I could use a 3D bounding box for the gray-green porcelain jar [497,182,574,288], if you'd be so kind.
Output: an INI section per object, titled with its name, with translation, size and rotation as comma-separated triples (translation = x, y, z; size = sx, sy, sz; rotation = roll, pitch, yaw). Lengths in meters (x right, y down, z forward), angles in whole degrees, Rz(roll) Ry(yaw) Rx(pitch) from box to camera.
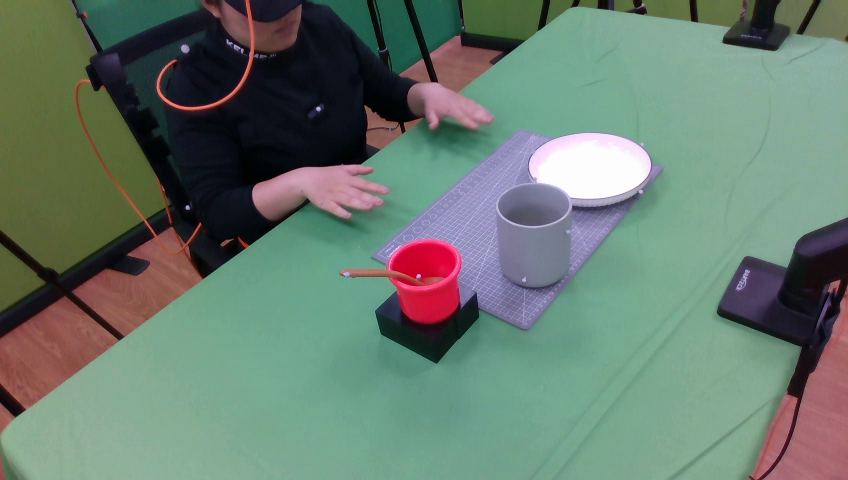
[gray-green porcelain jar]
translation = 0.160, -0.003, 0.869
size = 0.106, 0.127, 0.105
rotation = -5, 40, 5

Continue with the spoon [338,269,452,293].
[spoon]
translation = -0.033, 0.047, 0.758
size = 0.041, 0.021, 0.195
rotation = 30, 10, 41

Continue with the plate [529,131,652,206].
[plate]
translation = 0.287, -0.122, 1.055
size = 0.207, 0.039, 0.206
rotation = -5, 40, 5
